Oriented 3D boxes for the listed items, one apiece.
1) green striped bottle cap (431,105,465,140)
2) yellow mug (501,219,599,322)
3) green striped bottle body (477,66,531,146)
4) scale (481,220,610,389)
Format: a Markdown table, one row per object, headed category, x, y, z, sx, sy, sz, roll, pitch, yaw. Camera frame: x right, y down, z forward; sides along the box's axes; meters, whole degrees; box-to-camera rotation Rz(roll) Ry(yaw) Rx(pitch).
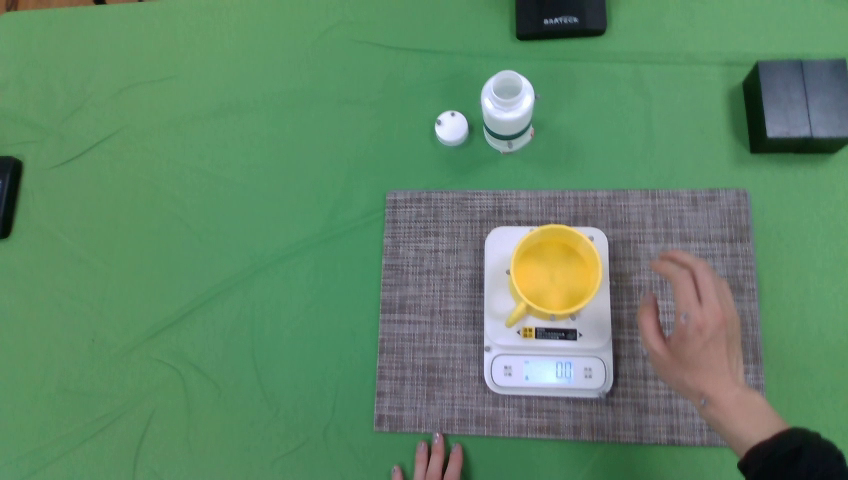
| category | x | y | z | sx | sy | sz | roll | pitch | yaw |
| --- | --- | --- | --- | --- | --- | --- | --- | --- | --- |
| green striped bottle cap | 0.032 | -0.156 | 0.804 | 0.044 | 0.020 | 0.044 | -1 | 83 | 6 |
| yellow mug | 0.132 | 0.043 | 0.683 | 0.099 | 0.064 | 0.131 | 41 | 85 | 13 |
| green striped bottle body | 0.098 | -0.166 | 0.744 | 0.063 | 0.120 | 0.063 | -2 | 75 | 7 |
| scale | 0.143 | 0.074 | 0.724 | 0.148 | 0.032 | 0.200 | 0 | 77 | 7 |
